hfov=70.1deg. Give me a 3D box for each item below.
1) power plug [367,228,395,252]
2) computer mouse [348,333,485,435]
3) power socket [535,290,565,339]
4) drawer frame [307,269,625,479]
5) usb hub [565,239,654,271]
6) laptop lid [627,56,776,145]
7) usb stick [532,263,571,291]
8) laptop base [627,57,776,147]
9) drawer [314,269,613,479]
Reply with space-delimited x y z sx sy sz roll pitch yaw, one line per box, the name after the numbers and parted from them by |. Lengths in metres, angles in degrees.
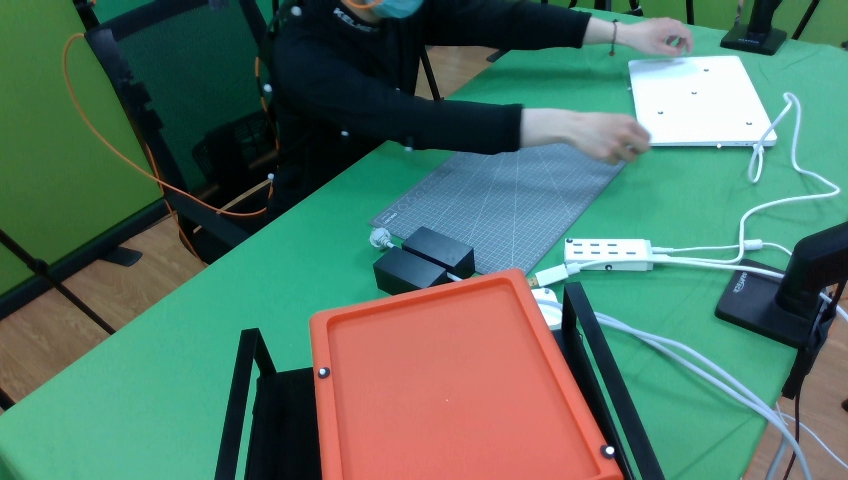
-0.066 0.010 0.956 0.035 0.053 0.072 -31 55 3 | power plug
-0.006 0.121 0.527 0.117 0.041 0.063 20 40 14 | computer mouse
0.081 0.112 0.822 0.227 0.033 0.072 -7 41 0 | power socket
0.019 0.135 0.487 0.202 0.083 0.212 -12 41 -7 | drawer frame
0.275 0.022 0.906 0.125 0.025 0.049 1 41 9 | usb hub
0.543 -0.291 1.221 0.241 0.013 0.356 2 41 14 | laptop lid
0.181 0.058 0.876 0.059 0.027 0.021 -33 89 -6 | usb stick
0.546 -0.282 1.229 0.235 0.023 0.353 0 41 13 | laptop base
0.018 0.134 0.490 0.195 0.073 0.210 -11 41 -6 | drawer
